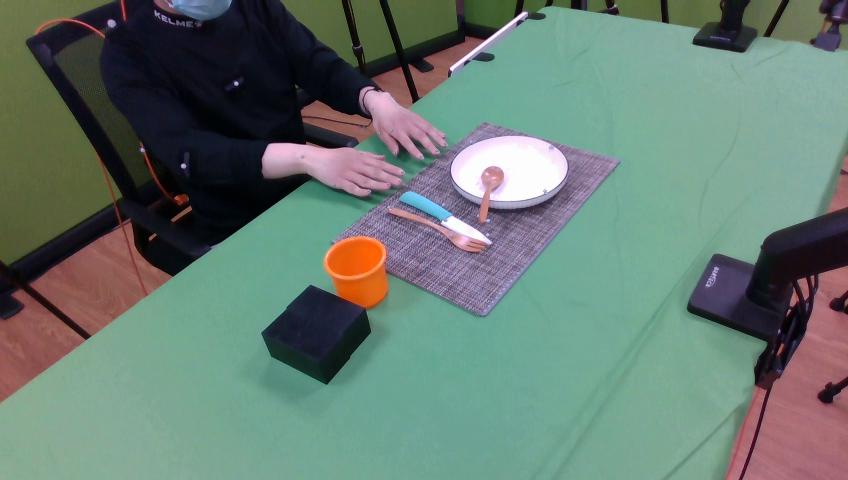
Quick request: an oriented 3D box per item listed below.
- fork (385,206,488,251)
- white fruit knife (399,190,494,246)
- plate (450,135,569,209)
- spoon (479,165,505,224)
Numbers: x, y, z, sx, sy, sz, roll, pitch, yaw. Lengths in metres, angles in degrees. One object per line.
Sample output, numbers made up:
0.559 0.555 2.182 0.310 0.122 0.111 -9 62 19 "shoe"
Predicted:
0.015 -0.021 0.988 0.206 0.019 0.028 24 61 30 "fork"
0.036 -0.038 1.009 0.205 0.016 0.027 32 84 34 "white fruit knife"
0.149 -0.117 1.066 0.209 0.038 0.208 -4 41 4 "plate"
0.107 -0.079 1.005 0.041 0.022 0.193 4 29 11 "spoon"
